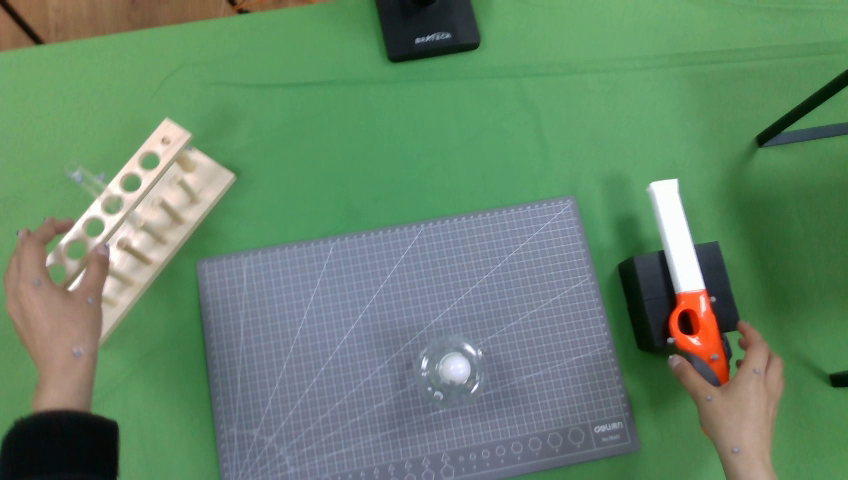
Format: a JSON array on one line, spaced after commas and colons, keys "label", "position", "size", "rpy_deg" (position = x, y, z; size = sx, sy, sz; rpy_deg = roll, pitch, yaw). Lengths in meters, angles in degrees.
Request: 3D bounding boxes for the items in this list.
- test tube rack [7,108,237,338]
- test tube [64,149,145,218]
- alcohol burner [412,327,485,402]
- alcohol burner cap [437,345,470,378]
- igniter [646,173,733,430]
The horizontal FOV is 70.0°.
[{"label": "test tube rack", "position": [-0.314, -0.016, 0.653], "size": [0.066, 0.085, 0.242], "rpy_deg": [34, 78, 6]}, {"label": "test tube", "position": [-0.317, -0.053, 0.611], "size": [0.017, 0.151, 0.017], "rpy_deg": [1, 72, -2]}, {"label": "alcohol burner", "position": [0.027, 0.127, 0.624], "size": [0.078, 0.119, 0.077], "rpy_deg": [1, 75, -4]}, {"label": "alcohol burner cap", "position": [0.030, 0.119, 0.589], "size": [0.034, 0.048, 0.033], "rpy_deg": [0, 81, 1]}, {"label": "igniter", "position": [0.284, 0.061, 0.651], "size": [0.057, 0.025, 0.275], "rpy_deg": [-7, 76, -2]}]
